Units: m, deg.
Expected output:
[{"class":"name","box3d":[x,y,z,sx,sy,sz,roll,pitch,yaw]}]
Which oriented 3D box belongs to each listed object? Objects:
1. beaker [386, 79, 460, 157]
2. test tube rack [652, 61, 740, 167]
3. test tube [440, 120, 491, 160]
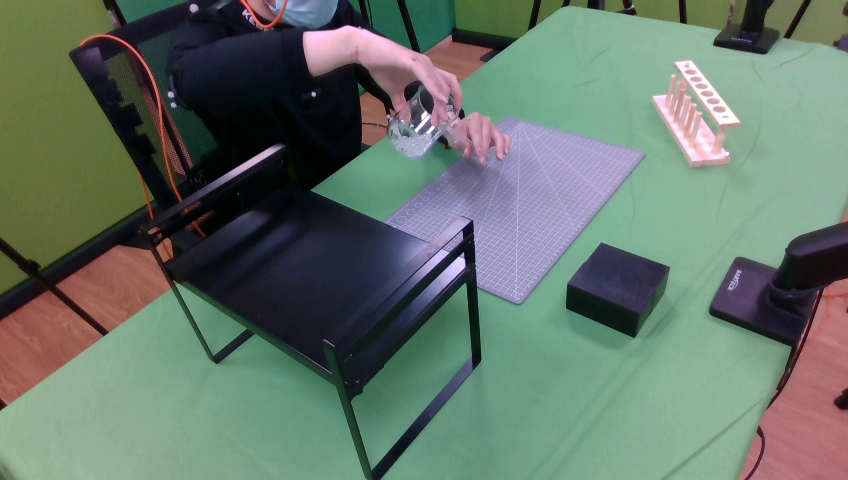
[{"class":"beaker","box3d":[-0.002,-0.175,0.892,0.073,0.084,0.100,16,53,30]},{"class":"test tube rack","box3d":[0.499,-0.242,1.130,0.067,0.085,0.241,-5,41,4]},{"class":"test tube","box3d":[0.072,-0.162,1.002,0.017,0.151,0.017,-10,71,32]}]
